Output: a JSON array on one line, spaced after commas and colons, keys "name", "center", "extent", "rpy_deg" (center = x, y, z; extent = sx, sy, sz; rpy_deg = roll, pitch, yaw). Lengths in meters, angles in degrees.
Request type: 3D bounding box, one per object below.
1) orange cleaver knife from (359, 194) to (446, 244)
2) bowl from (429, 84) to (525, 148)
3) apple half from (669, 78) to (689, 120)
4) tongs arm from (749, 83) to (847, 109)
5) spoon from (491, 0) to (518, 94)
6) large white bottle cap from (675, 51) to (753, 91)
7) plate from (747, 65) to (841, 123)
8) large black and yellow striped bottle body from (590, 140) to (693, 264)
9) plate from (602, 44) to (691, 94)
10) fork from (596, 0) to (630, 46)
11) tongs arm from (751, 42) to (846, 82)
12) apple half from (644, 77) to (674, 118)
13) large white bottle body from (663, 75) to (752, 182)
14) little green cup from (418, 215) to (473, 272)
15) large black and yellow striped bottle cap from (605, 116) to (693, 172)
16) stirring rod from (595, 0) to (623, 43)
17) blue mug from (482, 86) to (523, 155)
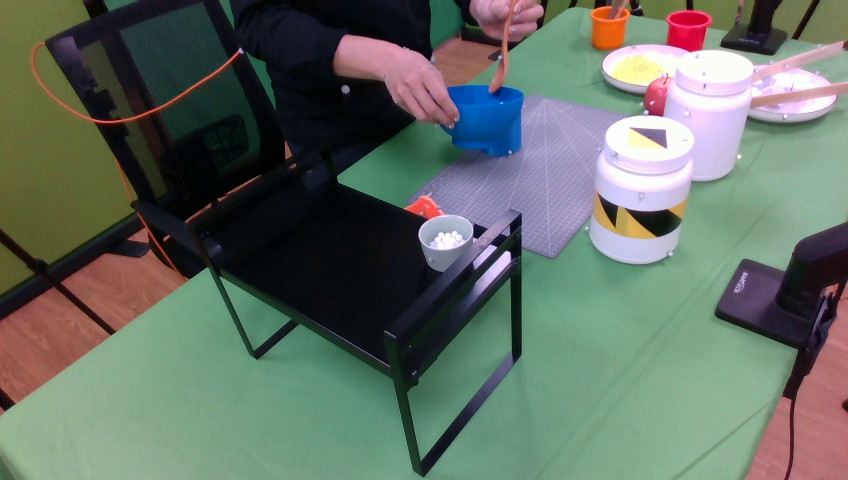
[{"name": "orange cleaver knife", "center": [-0.032, -0.026, 0.965], "extent": [0.210, 0.077, 0.012], "rpy_deg": [-10, 29, 51]}, {"name": "bowl", "center": [0.082, -0.194, 0.959], "extent": [0.151, 0.077, 0.151], "rpy_deg": [1, 25, 0]}, {"name": "apple half", "center": [0.498, -0.273, 1.180], "extent": [0.032, 0.082, 0.081], "rpy_deg": [7, 42, 25]}, {"name": "tongs arm", "center": [0.734, -0.280, 1.133], "extent": [0.388, 0.028, 0.028], "rpy_deg": [-9, 47, -5]}, {"name": "spoon", "center": [0.133, -0.328, 0.955], "extent": [0.022, 0.194, 0.041], "rpy_deg": [4, 22, -12]}, {"name": "large white bottle cap", "center": [0.463, -0.271, 0.967], "extent": [0.115, 0.018, 0.114], "rpy_deg": [-4, 40, 3]}, {"name": "plate", "center": [0.695, -0.282, 1.189], "extent": [0.207, 0.039, 0.206], "rpy_deg": [-4, 40, 4]}, {"name": "large black and yellow striped bottle body", "center": [0.317, -0.071, 0.889], "extent": [0.131, 0.185, 0.130], "rpy_deg": [-4, 41, 4]}, {"name": "plate", "center": [0.495, -0.367, 1.317], "extent": [0.209, 0.038, 0.208], "rpy_deg": [-4, 40, 4]}, {"name": "fork", "center": [0.481, -0.556, 1.452], "extent": [0.028, 0.019, 0.207], "rpy_deg": [40, 103, 40]}, {"name": "tongs arm", "center": [0.708, -0.331, 1.193], "extent": [0.386, 0.026, 0.050], "rpy_deg": [-18, 45, -16]}, {"name": "apple half", "center": [0.463, -0.279, 1.194], "extent": [0.053, 0.075, 0.081], "rpy_deg": [8, 46, 24]}, {"name": "large white bottle body", "center": [0.472, -0.207, 1.022], "extent": [0.130, 0.185, 0.130], "rpy_deg": [-4, 41, 4]}, {"name": "little green cup", "center": [0.026, 0.005, 0.678], "extent": [0.061, 0.039, 0.061], "rpy_deg": [-4, 40, 4]}, {"name": "large black and yellow striped bottle cap", "center": [0.309, -0.134, 0.833], "extent": [0.115, 0.019, 0.114], "rpy_deg": [-5, 40, 5]}, {"name": "stirring rod", "center": [0.460, -0.556, 1.459], "extent": [0.014, 0.006, 0.176], "rpy_deg": [30, 93, 23]}, {"name": "blue mug", "center": [0.135, -0.235, 1.163], "extent": [0.082, 0.106, 0.115], "rpy_deg": [-36, 48, -29]}]
